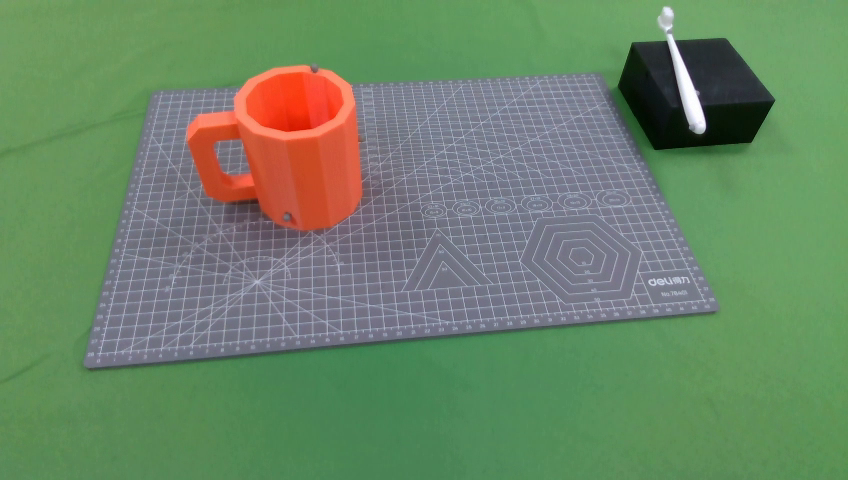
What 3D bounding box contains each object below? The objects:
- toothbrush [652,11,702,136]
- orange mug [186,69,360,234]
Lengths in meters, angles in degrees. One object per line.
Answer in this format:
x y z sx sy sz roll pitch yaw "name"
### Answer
0.233 -0.158 0.558 0.014 0.017 0.180 7 51 -1 "toothbrush"
-0.113 -0.066 0.469 0.126 0.101 0.082 -7 51 -14 "orange mug"
